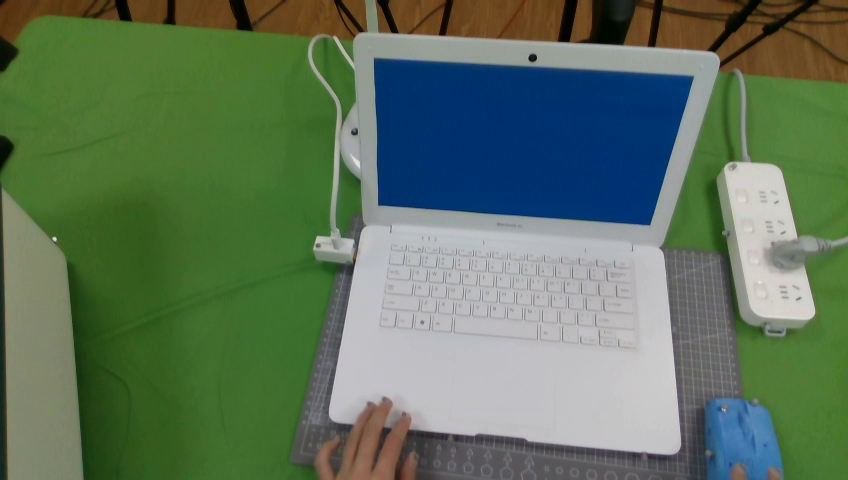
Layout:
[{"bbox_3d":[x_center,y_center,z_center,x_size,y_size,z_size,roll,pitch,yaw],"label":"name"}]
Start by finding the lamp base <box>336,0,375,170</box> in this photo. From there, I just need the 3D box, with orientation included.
[{"bbox_3d":[-0.043,-0.190,0.727,0.161,0.182,0.177,-29,61,-14],"label":"lamp base"}]

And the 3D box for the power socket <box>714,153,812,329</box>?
[{"bbox_3d":[0.389,-0.008,0.703,0.072,0.033,0.225,5,61,2],"label":"power socket"}]

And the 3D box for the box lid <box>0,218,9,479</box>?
[{"bbox_3d":[-0.486,0.100,0.499,0.263,0.015,0.368,-18,63,-9],"label":"box lid"}]

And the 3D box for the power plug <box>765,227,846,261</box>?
[{"bbox_3d":[0.414,0.011,0.666,0.072,0.053,0.035,14,61,7],"label":"power plug"}]

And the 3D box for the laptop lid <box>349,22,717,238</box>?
[{"bbox_3d":[0.100,-0.105,0.645,0.356,0.244,0.013,3,38,4],"label":"laptop lid"}]

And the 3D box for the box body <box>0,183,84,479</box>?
[{"bbox_3d":[-0.484,0.139,0.563,0.254,0.161,0.360,-18,62,-9],"label":"box body"}]

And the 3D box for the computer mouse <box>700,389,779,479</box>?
[{"bbox_3d":[0.303,0.200,0.585,0.062,0.041,0.116,9,58,7],"label":"computer mouse"}]

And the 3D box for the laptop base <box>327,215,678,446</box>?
[{"bbox_3d":[0.086,0.090,0.662,0.354,0.023,0.233,4,65,3],"label":"laptop base"}]

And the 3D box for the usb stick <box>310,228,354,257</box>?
[{"bbox_3d":[-0.099,0.004,0.698,0.059,0.027,0.021,9,56,3],"label":"usb stick"}]
